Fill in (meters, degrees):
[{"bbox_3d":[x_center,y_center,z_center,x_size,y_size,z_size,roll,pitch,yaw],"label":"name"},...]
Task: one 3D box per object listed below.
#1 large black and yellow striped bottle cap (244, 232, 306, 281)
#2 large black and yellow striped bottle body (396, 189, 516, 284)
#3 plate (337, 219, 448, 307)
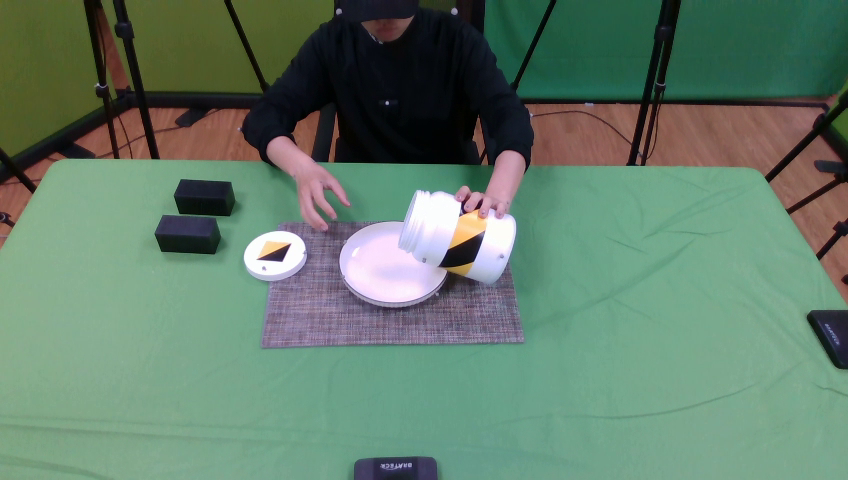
[{"bbox_3d":[-0.282,0.030,1.146,0.115,0.019,0.114,-1,45,1],"label":"large black and yellow striped bottle cap"},{"bbox_3d":[0.054,-0.009,1.064,0.184,0.131,0.130,19,46,-7],"label":"large black and yellow striped bottle body"},{"bbox_3d":[-0.057,0.045,1.133,0.208,0.039,0.206,2,46,-2],"label":"plate"}]
